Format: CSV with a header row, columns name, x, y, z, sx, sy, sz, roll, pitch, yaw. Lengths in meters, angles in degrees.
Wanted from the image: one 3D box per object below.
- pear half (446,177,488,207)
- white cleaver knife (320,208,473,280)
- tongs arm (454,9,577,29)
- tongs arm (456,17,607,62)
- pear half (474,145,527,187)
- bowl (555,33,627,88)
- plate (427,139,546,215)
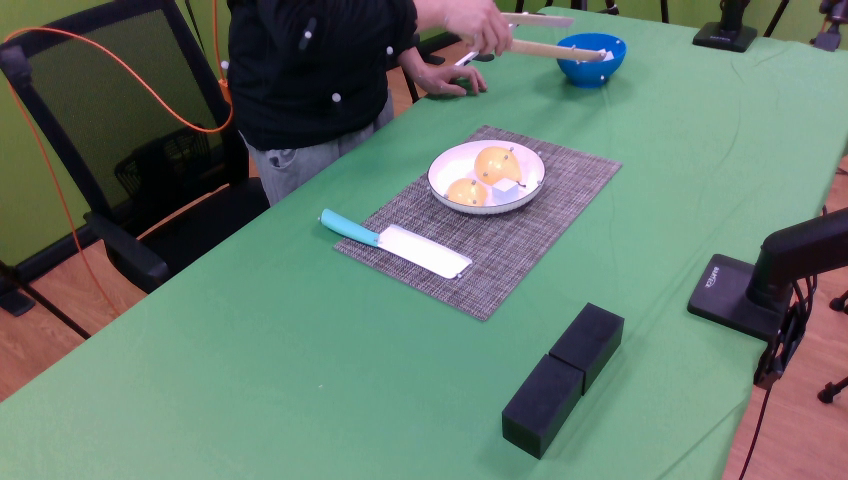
name,x,y,z,sx,sy,sz,roll,pitch,yaw
pear half,0.073,-0.086,1.032,0.070,0.031,0.087,-20,36,-9
white cleaver knife,-0.053,0.001,0.978,0.284,0.021,0.066,23,40,26
tongs arm,0.188,-0.427,1.176,0.390,0.027,0.028,-18,71,-43
tongs arm,0.218,-0.376,1.153,0.388,0.026,0.050,-9,62,-39
pear half,0.140,-0.129,1.059,0.076,0.056,0.109,-37,52,-24
bowl,0.360,-0.384,1.318,0.151,0.077,0.150,-4,41,4
plate,0.109,-0.107,1.058,0.207,0.039,0.206,-4,40,4
